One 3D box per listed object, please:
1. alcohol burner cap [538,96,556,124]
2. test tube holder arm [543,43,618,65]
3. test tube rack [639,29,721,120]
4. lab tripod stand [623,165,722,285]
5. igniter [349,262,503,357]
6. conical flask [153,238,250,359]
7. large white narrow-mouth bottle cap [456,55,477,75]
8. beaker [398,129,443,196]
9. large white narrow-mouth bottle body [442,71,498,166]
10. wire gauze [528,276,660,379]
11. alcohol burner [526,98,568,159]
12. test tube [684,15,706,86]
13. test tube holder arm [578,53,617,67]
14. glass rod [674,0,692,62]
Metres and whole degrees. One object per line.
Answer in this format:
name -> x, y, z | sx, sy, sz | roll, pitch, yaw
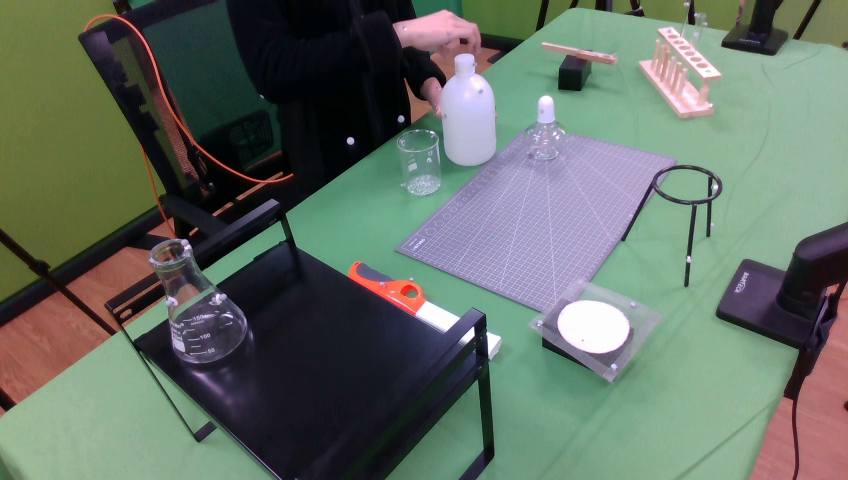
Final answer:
alcohol burner cap -> 0.222, -0.237, 1.095 | 0.034, 0.048, 0.033 | -7, 35, 5
test tube holder arm -> 0.344, -0.413, 1.340 | 0.177, 0.015, 0.013 | 25, 51, 31
test tube rack -> 0.527, -0.351, 1.262 | 0.067, 0.085, 0.241 | -8, 40, 1
lab tripod stand -> 0.365, -0.030, 0.874 | 0.148, 0.132, 0.147 | -6, 41, 6
igniter -> -0.008, 0.093, 0.870 | 0.274, 0.025, 0.057 | 24, 60, 33
conical flask -> -0.225, 0.055, 0.597 | 0.075, 0.122, 0.075 | -5, 41, 4
large white narrow-mouth bottle cap -> 0.075, -0.308, 1.063 | 0.038, 0.024, 0.037 | -4, 40, 4
beaker -> -0.002, -0.139, 1.087 | 0.073, 0.101, 0.084 | 28, 52, 35
large white narrow-mouth bottle body -> 0.084, -0.242, 1.121 | 0.102, 0.195, 0.101 | -4, 40, 4
wire gauze -> 0.213, 0.103, 0.763 | 0.124, 0.011, 0.122 | 30, 52, 35
alcohol burner -> 0.228, -0.210, 1.118 | 0.078, 0.119, 0.077 | -5, 43, 5
test tube -> 0.541, -0.378, 1.215 | 0.017, 0.151, 0.017 | -2, 44, 3
test tube holder arm -> 0.376, -0.393, 1.314 | 0.087, 0.015, 0.010 | 26, 51, 32
glass rod -> 0.536, -0.436, 1.257 | 0.008, 0.200, 0.008 | 0, 39, 1
